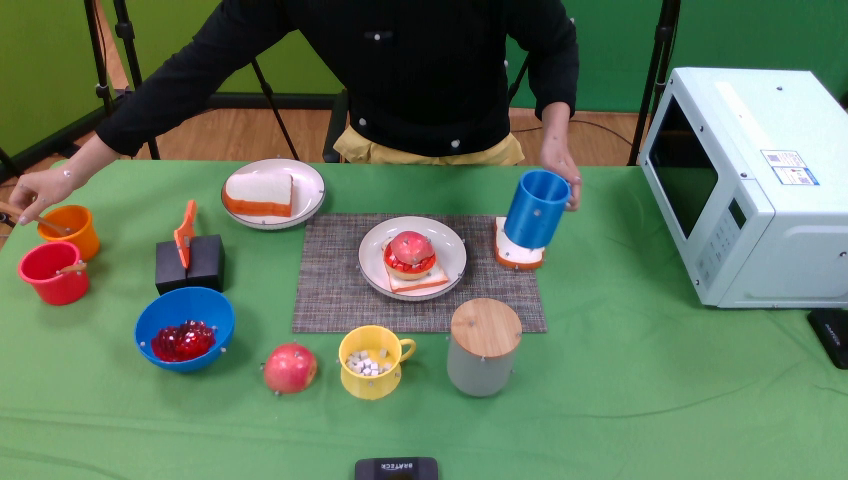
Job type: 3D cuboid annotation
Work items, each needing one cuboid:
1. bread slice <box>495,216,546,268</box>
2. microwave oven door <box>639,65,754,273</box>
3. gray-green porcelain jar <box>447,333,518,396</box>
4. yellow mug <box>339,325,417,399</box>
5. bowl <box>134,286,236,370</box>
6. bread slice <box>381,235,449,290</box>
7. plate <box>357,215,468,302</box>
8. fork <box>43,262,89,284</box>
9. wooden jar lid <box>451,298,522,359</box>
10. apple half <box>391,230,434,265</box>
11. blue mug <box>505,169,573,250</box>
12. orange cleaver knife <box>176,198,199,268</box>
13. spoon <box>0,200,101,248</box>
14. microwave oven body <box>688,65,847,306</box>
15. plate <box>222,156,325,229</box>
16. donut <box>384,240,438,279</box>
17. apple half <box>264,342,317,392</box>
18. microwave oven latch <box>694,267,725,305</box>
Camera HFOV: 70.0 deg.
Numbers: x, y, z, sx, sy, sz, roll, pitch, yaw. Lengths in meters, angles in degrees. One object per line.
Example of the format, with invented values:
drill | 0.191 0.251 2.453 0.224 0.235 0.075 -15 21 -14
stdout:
bread slice | 0.194 0.002 1.204 0.105 0.019 0.131 5 45 2
microwave oven door | 0.522 -0.147 1.192 0.039 0.245 0.353 0 47 -3
gray-green porcelain jar | 0.091 0.178 0.960 0.106 0.127 0.105 2 46 -2
yellow mug | -0.072 0.190 0.978 0.131 0.064 0.099 -17 50 -20
bowl | -0.377 0.156 0.981 0.151 0.077 0.150 2 46 -2
bread slice | -0.026 0.037 1.138 0.107 0.018 0.133 -12 45 -16
plate | -0.022 0.037 1.141 0.208 0.039 0.206 2 46 -2
fork | -0.599 0.053 1.013 0.207 0.019 0.028 -14 30 45
wooden jar lid | 0.093 0.135 0.914 0.108 0.021 0.107 2 48 -3
apple half | -0.021 0.004 1.085 0.081 0.033 0.081 7 44 -7
blue mug | 0.194 -0.054 0.978 0.116 0.106 0.082 -26 57 -32
orange cleaver knife | -0.437 -0.017 1.137 0.012 0.077 0.210 -11 27 -7
spoon | -0.678 -0.034 1.083 0.021 0.195 0.041 -25 51 28
microwave oven body | 0.669 -0.111 1.176 0.326 0.261 0.439 0 46 -3
plate | -0.307 -0.095 1.251 0.209 0.038 0.208 2 47 -2
donut | -0.025 0.029 1.109 0.099 0.048 0.098 2 46 -2
apple half | -0.214 0.198 0.970 0.074 0.053 0.080 19 48 10
microwave oven latch | 0.524 0.082 1.115 0.030 0.029 0.078 4 46 1
